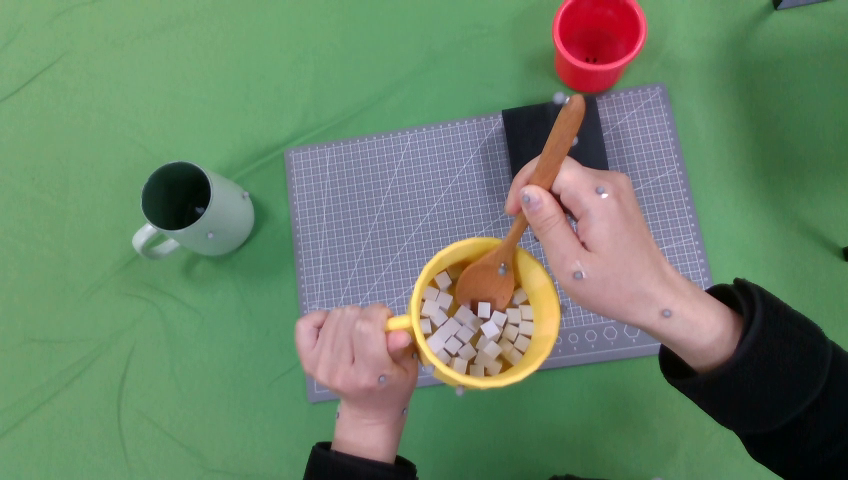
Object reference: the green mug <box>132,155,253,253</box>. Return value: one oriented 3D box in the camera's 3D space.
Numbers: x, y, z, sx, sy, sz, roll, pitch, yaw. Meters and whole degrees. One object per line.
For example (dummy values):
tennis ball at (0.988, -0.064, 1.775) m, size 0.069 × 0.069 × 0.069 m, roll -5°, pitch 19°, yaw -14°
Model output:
green mug at (-0.262, -0.030, 0.669) m, size 0.125 × 0.105 × 0.092 m, roll -41°, pitch 78°, yaw -2°

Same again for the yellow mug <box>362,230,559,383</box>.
yellow mug at (0.022, 0.051, 0.421) m, size 0.131 × 0.064 × 0.099 m, roll -9°, pitch 77°, yaw -6°

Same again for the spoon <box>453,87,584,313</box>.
spoon at (0.059, -0.013, 0.381) m, size 0.041 × 0.195 × 0.021 m, roll 19°, pitch 50°, yaw -1°
